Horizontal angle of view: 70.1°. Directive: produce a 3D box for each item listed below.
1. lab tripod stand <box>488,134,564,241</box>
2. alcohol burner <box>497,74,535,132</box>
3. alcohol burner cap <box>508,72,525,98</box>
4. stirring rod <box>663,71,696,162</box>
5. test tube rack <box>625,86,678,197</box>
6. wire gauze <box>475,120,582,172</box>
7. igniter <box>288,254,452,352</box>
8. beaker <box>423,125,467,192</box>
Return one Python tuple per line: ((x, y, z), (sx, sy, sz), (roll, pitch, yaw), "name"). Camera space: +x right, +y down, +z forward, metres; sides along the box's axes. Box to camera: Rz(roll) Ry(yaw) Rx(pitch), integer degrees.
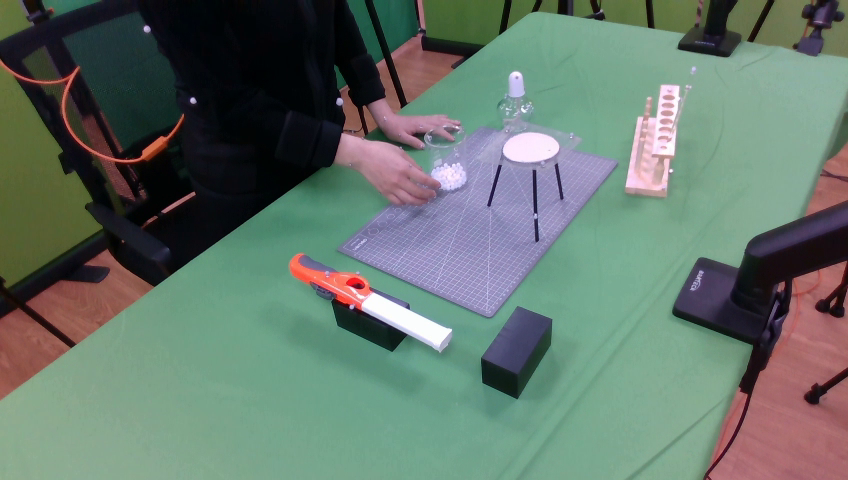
((0.168, -0.092, 0.972), (0.148, 0.132, 0.147), (-5, 41, 5), "lab tripod stand")
((0.184, -0.278, 1.210), (0.078, 0.119, 0.077), (-3, 43, 3), "alcohol burner")
((0.181, -0.306, 1.186), (0.034, 0.048, 0.033), (-7, 39, 6), "alcohol burner cap")
((0.410, -0.195, 0.981), (0.014, 0.177, 0.006), (11, 50, 14), "stirring rod")
((0.412, -0.184, 1.088), (0.066, 0.085, 0.242), (9, 43, 18), "test tube rack")
((0.161, -0.143, 0.928), (0.120, 0.011, 0.125), (20, 47, 30), "wire gauze")
((-0.083, 0.079, 0.818), (0.274, 0.025, 0.057), (23, 46, 27), "igniter")
((0.042, -0.144, 1.078), (0.073, 0.100, 0.084), (28, 51, 33), "beaker")
